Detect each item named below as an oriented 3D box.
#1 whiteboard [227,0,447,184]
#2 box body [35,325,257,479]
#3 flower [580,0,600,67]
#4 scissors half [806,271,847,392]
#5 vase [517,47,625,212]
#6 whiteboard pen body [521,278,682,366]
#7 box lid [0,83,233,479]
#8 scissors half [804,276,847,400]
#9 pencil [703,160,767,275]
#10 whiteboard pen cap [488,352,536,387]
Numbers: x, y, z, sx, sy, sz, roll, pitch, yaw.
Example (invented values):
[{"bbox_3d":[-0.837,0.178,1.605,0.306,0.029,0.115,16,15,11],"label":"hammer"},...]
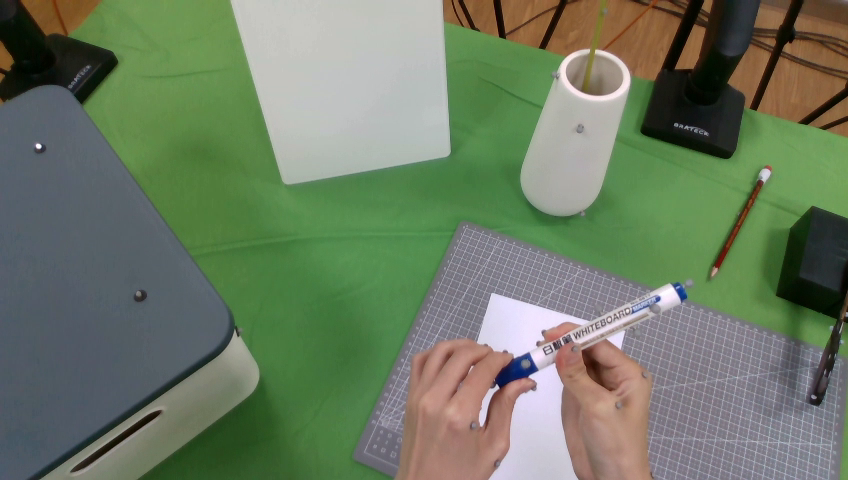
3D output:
[{"bbox_3d":[-0.100,-0.248,0.716,0.217,0.308,0.142,-11,42,-6],"label":"whiteboard"},{"bbox_3d":[-0.364,0.060,0.590,0.254,0.161,0.361,-37,68,-18],"label":"box body"},{"bbox_3d":[0.159,-0.170,0.608,0.044,0.365,0.038,14,44,11],"label":"flower"},{"bbox_3d":[0.421,0.076,0.618,0.012,0.040,0.174,19,64,30],"label":"scissors half"},{"bbox_3d":[0.160,-0.116,0.673,0.098,0.201,0.097,0,60,1],"label":"vase"},{"bbox_3d":[0.115,0.064,0.429,0.141,0.017,0.017,-28,62,10],"label":"whiteboard pen body"},{"bbox_3d":[-0.365,0.023,0.526,0.263,0.015,0.368,-36,68,-19],"label":"box lid"},{"bbox_3d":[0.429,0.085,0.634,0.012,0.040,0.175,18,81,35],"label":"scissors half"},{"bbox_3d":[0.378,-0.030,0.736,0.012,0.012,0.193,31,66,16],"label":"pencil"},{"bbox_3d":[0.064,0.093,0.439,0.033,0.018,0.018,-28,63,7],"label":"whiteboard pen cap"}]
